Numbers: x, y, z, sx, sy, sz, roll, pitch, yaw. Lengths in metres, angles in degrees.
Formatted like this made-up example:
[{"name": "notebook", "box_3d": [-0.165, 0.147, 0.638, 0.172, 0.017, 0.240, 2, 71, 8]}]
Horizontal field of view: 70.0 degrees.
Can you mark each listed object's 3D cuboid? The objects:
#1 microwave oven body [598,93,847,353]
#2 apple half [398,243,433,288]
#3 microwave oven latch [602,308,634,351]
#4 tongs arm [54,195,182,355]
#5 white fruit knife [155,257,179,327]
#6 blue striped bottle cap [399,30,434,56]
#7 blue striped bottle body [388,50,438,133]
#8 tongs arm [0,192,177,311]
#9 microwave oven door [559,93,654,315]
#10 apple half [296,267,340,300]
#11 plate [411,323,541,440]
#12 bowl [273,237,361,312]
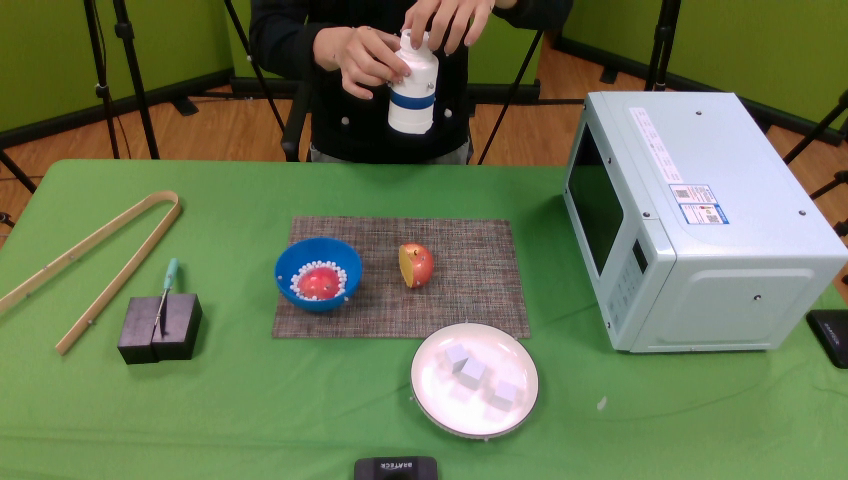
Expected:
[{"name": "microwave oven body", "box_3d": [0.475, -0.041, 1.109, 0.326, 0.261, 0.438, -1, 45, -4]}, {"name": "apple half", "box_3d": [-0.012, 0.046, 1.115, 0.053, 0.075, 0.080, -11, 44, -19]}, {"name": "microwave oven latch", "box_3d": [0.332, 0.153, 1.044, 0.030, 0.029, 0.078, -1, 45, -4]}, {"name": "tongs arm", "box_3d": [-0.544, 0.049, 1.108, 0.028, 0.028, 0.385, 12, 45, 9]}, {"name": "white fruit knife", "box_3d": [-0.440, 0.085, 1.037, 0.016, 0.027, 0.206, 10, 26, -19]}, {"name": "blue striped bottle cap", "box_3d": [-0.010, -0.258, 0.789, 0.044, 0.021, 0.044, 10, 37, -7]}, {"name": "blue striped bottle body", "box_3d": [-0.015, -0.213, 0.825, 0.063, 0.121, 0.062, 5, 38, -4]}, {"name": "tongs arm", "box_3d": [-0.618, 0.020, 1.124, 0.050, 0.026, 0.384, 24, 47, 16]}, {"name": "microwave oven door", "box_3d": [0.327, -0.074, 1.123, 0.039, 0.245, 0.353, 0, 46, -5]}, {"name": "apple half", "box_3d": [-0.187, 0.070, 1.067, 0.081, 0.033, 0.081, 2, 47, -2]}, {"name": "plate", "box_3d": [0.082, 0.228, 0.976, 0.208, 0.039, 0.206, 2, 45, -2]}, {"name": "bowl", "box_3d": [-0.186, 0.074, 1.069, 0.151, 0.077, 0.150, 3, 46, -3]}]
